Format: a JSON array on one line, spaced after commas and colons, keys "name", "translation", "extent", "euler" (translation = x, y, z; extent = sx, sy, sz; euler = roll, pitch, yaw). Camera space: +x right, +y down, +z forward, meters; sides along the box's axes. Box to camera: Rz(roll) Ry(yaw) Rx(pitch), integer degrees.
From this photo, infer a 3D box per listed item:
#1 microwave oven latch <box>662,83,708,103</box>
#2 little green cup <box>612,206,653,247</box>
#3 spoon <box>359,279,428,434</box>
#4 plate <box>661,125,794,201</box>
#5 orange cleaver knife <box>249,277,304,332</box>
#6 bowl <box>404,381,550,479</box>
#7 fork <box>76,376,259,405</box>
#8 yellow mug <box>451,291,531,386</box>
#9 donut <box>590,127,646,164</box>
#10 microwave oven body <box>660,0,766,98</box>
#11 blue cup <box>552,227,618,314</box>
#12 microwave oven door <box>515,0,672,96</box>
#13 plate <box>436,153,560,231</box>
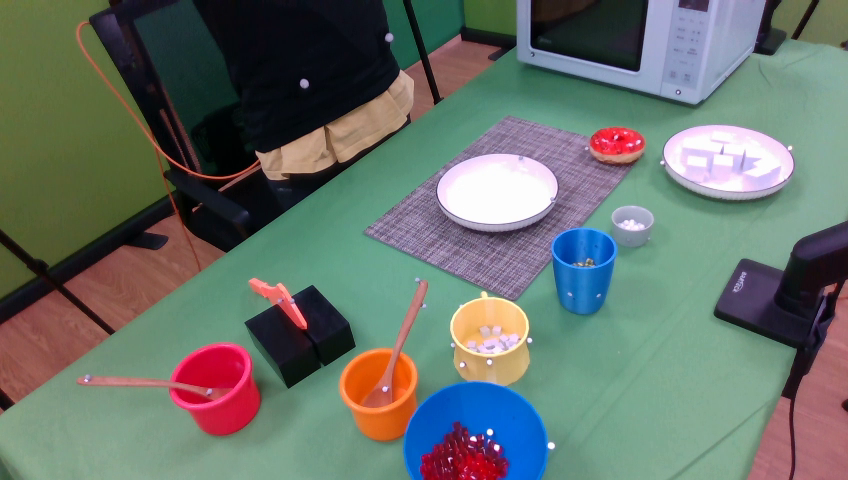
[{"name": "microwave oven latch", "translation": [0.517, -0.296, 1.204], "extent": [0.078, 0.029, 0.030], "euler": [28, 52, 35]}, {"name": "little green cup", "translation": [0.321, -0.019, 0.936], "extent": [0.061, 0.039, 0.061], "euler": [-4, 41, 4]}, {"name": "spoon", "translation": [-0.032, 0.138, 0.719], "extent": [0.041, 0.193, 0.022], "euler": [22, 4, 30]}, {"name": "plate", "translation": [0.513, -0.128, 1.035], "extent": [0.207, 0.039, 0.206], "euler": [-4, 40, 4]}, {"name": "orange cleaver knife", "translation": [-0.210, 0.089, 0.855], "extent": [0.012, 0.077, 0.210], "euler": [-27, 14, -25]}, {"name": "bowl", "translation": [0.058, 0.235, 0.645], "extent": [0.151, 0.077, 0.150], "euler": [-4, 39, 4]}, {"name": "fork", "translation": [-0.295, 0.176, 0.716], "extent": [0.209, 0.018, 0.028], "euler": [19, 27, -37]}, {"name": "yellow mug", "translation": [0.085, 0.120, 0.786], "extent": [0.100, 0.064, 0.130], "euler": [-7, 39, 1]}, {"name": "donut", "translation": [0.353, -0.174, 1.103], "extent": [0.099, 0.048, 0.098], "euler": [-4, 38, 4]}, {"name": "microwave oven body", "translation": [0.472, -0.513, 1.317], "extent": [0.438, 0.261, 0.327], "euler": [26, 51, 34]}, {"name": "blue cup", "translation": [0.217, 0.047, 0.825], "extent": [0.092, 0.100, 0.092], "euler": [-6, 40, 5]}, {"name": "microwave oven door", "translation": [0.343, -0.454, 1.259], "extent": [0.353, 0.245, 0.039], "euler": [26, 51, 33]}, {"name": "plate", "translation": [0.125, -0.078, 1.029], "extent": [0.209, 0.038, 0.208], "euler": [-4, 40, 4]}]
